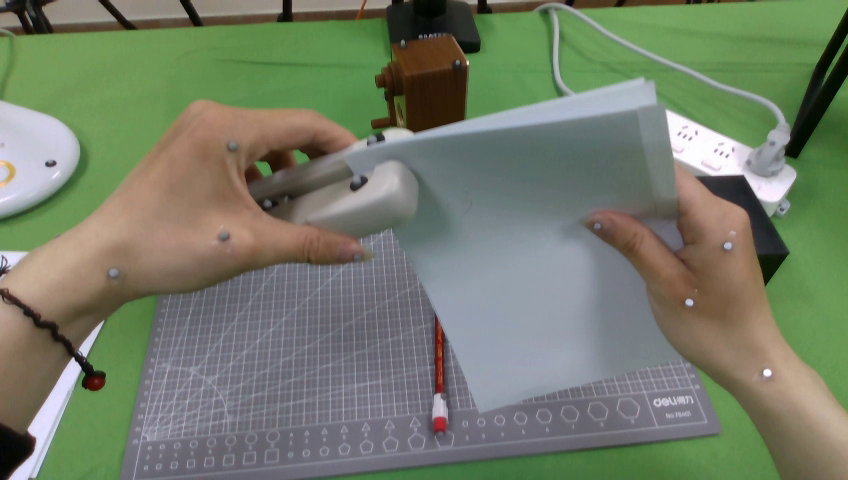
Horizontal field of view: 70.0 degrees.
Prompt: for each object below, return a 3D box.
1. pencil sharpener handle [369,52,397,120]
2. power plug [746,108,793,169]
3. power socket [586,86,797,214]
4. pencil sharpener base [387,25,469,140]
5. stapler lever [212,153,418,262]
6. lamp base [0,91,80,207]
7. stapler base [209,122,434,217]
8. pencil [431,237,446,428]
[{"bbox_3d":[-0.045,-0.159,0.631,0.031,0.068,0.035,-13,29,-11],"label":"pencil sharpener handle"},{"bbox_3d":[0.362,-0.096,0.623,0.072,0.053,0.035,-31,57,-24],"label":"power plug"},{"bbox_3d":[0.288,-0.102,0.657,0.225,0.033,0.072,35,57,25],"label":"power socket"},{"bbox_3d":[0.002,-0.166,0.656,0.077,0.108,0.060,-13,52,-11],"label":"pencil sharpener base"},{"bbox_3d":[-0.058,-0.014,0.323,0.118,0.027,0.039,-24,43,13],"label":"stapler lever"},{"bbox_3d":[-0.454,-0.146,0.580,0.161,0.182,0.177,-30,54,-24],"label":"lamp base"},{"bbox_3d":[-0.058,-0.026,0.331,0.130,0.042,0.024,-15,46,21],"label":"stapler base"},{"bbox_3d":[0.012,0.068,0.520,0.012,0.012,0.192,1,48,0],"label":"pencil"}]
